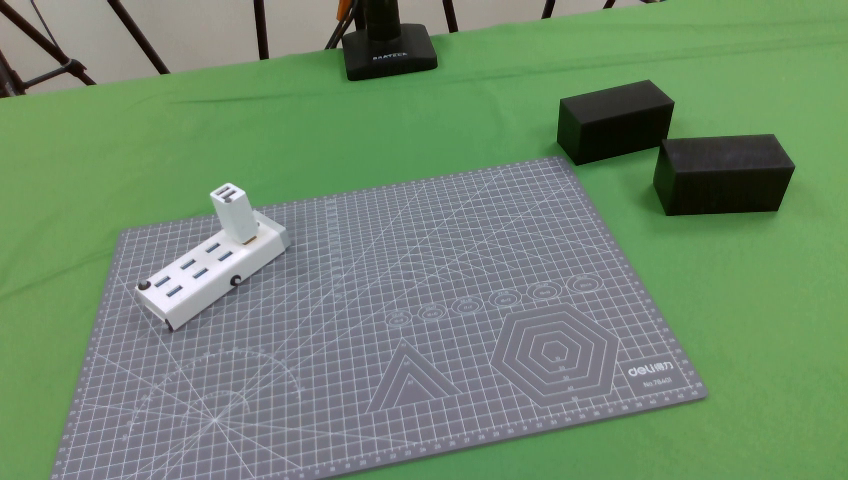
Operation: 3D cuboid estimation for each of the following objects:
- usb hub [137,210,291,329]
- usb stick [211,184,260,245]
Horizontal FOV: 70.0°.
[{"bbox_3d":[-0.181,0.022,0.530,0.049,0.025,0.125,28,52,31],"label":"usb hub"},{"bbox_3d":[-0.160,-0.017,0.523,0.027,0.060,0.021,24,51,32],"label":"usb stick"}]
